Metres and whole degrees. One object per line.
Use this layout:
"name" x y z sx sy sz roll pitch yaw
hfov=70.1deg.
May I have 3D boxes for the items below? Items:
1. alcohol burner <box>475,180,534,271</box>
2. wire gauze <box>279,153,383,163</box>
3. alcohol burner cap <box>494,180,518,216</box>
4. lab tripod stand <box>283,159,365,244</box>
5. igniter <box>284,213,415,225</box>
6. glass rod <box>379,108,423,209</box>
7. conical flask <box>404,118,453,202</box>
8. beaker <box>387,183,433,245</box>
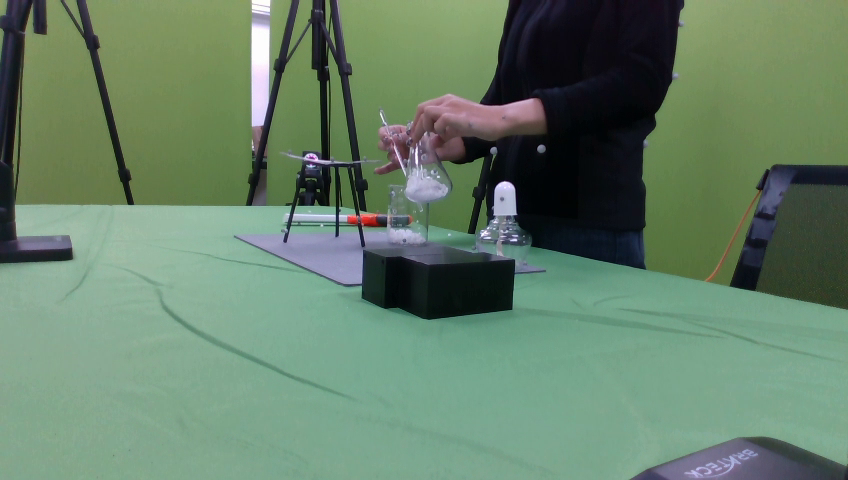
"alcohol burner" 0.108 -0.020 0.804 0.078 0.119 0.078 3 5 0
"wire gauze" -0.149 -0.129 0.974 0.124 0.011 0.122 10 9 41
"alcohol burner cap" 0.108 -0.055 0.799 0.034 0.048 0.034 -2 4 0
"lab tripod stand" -0.151 -0.063 0.983 0.148 0.131 0.148 4 7 0
"igniter" -0.154 -0.045 1.282 0.278 0.025 0.057 0 -2 -20
"glass rod" -0.039 -0.138 1.011 0.008 0.199 0.008 -20 -18 -6
"conical flask" 0.000 -0.125 0.926 0.075 0.121 0.075 -8 -19 -2
"beaker" -0.027 -0.044 1.012 0.074 0.100 0.083 -2 8 -35
